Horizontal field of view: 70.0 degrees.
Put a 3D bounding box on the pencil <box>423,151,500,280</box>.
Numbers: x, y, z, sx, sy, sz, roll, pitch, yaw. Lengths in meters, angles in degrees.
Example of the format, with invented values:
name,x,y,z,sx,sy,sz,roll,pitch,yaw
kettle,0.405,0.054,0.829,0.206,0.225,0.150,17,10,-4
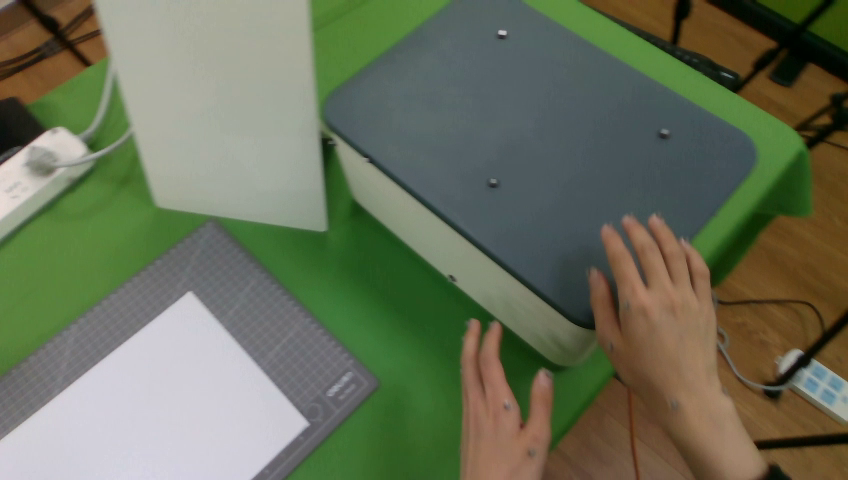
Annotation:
name,x,y,z,sx,sy,sz,roll,pitch,yaw
pencil,0.044,-0.033,0.723,0.012,0.012,0.192,-24,66,-11

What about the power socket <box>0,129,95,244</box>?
name,x,y,z,sx,sy,sz,roll,pitch,yaw
power socket,-0.508,-0.050,0.739,0.072,0.033,0.226,34,67,18

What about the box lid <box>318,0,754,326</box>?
name,x,y,z,sx,sy,sz,roll,pitch,yaw
box lid,0.100,-0.111,0.597,0.369,0.015,0.263,39,69,20

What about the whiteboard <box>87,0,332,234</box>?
name,x,y,z,sx,sy,sz,roll,pitch,yaw
whiteboard,-0.206,-0.179,0.682,0.217,0.308,0.142,9,43,7

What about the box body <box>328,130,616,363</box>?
name,x,y,z,sx,sy,sz,roll,pitch,yaw
box body,0.104,-0.073,0.661,0.361,0.161,0.254,38,69,20

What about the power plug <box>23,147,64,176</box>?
name,x,y,z,sx,sy,sz,roll,pitch,yaw
power plug,-0.454,-0.082,0.729,0.035,0.053,0.072,-39,68,-18

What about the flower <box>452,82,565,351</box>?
name,x,y,z,sx,sy,sz,roll,pitch,yaw
flower,0.100,-0.040,0.713,0.044,0.038,0.358,-28,63,23
